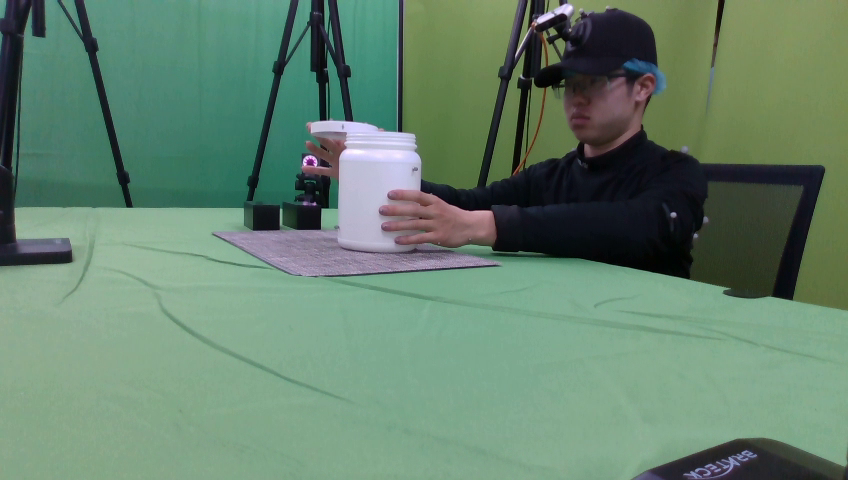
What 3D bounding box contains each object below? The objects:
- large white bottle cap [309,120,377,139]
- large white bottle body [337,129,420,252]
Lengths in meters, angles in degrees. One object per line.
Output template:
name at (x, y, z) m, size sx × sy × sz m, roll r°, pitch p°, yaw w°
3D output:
large white bottle cap at (-0.138, -0.188, 1.032) m, size 0.115 × 0.018 × 0.115 m, roll 2°, pitch 2°, yaw 0°
large white bottle body at (-0.072, -0.080, 0.957) m, size 0.131 × 0.184 × 0.130 m, roll 2°, pitch 8°, yaw 0°
